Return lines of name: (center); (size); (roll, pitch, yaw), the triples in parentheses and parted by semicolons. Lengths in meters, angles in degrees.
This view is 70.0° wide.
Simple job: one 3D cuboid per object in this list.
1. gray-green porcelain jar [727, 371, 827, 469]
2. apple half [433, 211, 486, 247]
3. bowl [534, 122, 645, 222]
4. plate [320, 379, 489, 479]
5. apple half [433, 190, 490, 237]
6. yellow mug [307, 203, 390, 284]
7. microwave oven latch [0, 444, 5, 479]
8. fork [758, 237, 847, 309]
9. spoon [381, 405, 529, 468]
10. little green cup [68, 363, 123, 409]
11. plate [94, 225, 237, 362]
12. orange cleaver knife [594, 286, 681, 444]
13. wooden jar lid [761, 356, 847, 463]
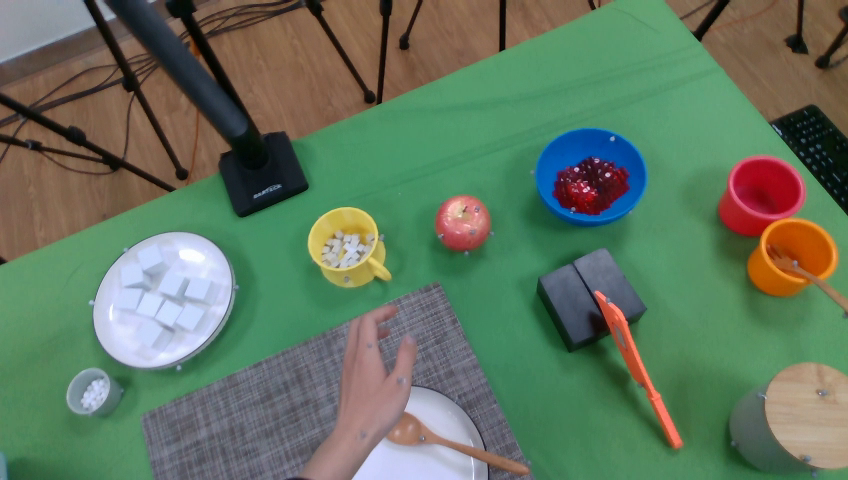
gray-green porcelain jar: (0.415, 0.204, 0.689); (0.106, 0.127, 0.105); (-2, 65, 6)
apple half: (0.046, -0.007, 0.854); (0.081, 0.082, 0.032); (15, 66, 13)
bowl: (0.230, -0.083, 0.864); (0.151, 0.077, 0.150); (-2, 66, 6)
plate: (-0.024, 0.280, 0.751); (0.209, 0.038, 0.207); (-2, 66, 5)
apple half: (0.059, -0.040, 0.868); (0.080, 0.075, 0.053); (13, 65, 16)
yellow mug: (-0.100, 0.013, 0.867); (0.130, 0.064, 0.100); (34, 73, 18)
microwave oven latch: (-0.565, 0.303, 0.786); (0.030, 0.030, 0.078); (-19, 66, -3)
fork: (0.472, 0.043, 0.741); (0.028, 0.019, 0.206); (-8, 22, 1)
spoon: (0.035, 0.246, 0.745); (0.192, 0.022, 0.041); (12, 63, 24)
little green cup: (-0.451, 0.204, 0.836); (0.061, 0.039, 0.061); (-2, 66, 4)
plate: (-0.371, 0.078, 0.884); (0.207, 0.039, 0.206); (-2, 66, 6)
orange cleaver knife: (0.262, 0.153, 0.749); (0.012, 0.077, 0.212); (-27, 98, -1)
wooden jar lid: (0.407, 0.177, 0.633); (0.108, 0.021, 0.107); (-2, 68, 5)
